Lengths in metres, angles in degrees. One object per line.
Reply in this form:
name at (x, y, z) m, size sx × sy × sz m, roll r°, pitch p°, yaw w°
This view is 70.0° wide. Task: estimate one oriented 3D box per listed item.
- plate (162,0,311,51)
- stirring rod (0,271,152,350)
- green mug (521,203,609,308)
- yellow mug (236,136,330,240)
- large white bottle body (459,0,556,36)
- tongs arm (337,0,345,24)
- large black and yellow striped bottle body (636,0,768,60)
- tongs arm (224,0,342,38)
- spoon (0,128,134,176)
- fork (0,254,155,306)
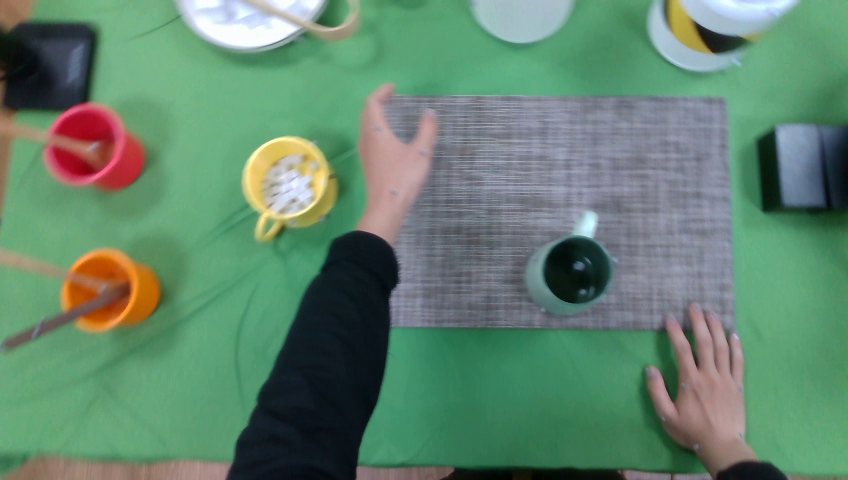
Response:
plate at (-0.243, -0.346, 0.803) m, size 0.207 × 0.039 × 0.207 m, roll 0°, pitch 83°, yaw 2°
stirring rod at (-0.399, 0.079, 0.706) m, size 0.014 × 0.006 × 0.176 m, roll 50°, pitch 45°, yaw 6°
green mug at (0.168, 0.016, 0.706) m, size 0.092 × 0.105 × 0.125 m, roll 16°, pitch 84°, yaw 5°
yellow mug at (-0.180, -0.059, 0.751) m, size 0.100 × 0.064 × 0.130 m, roll 25°, pitch 86°, yaw 5°
large white bottle body at (0.105, -0.341, 0.715) m, size 0.130 × 0.185 × 0.130 m, roll 0°, pitch 82°, yaw 3°
tongs arm at (-0.236, -0.412, 0.780) m, size 0.386 × 0.028 × 0.028 m, roll 42°, pitch 80°, yaw 8°
large black and yellow striped bottle body at (0.336, -0.306, 0.703) m, size 0.131 × 0.184 × 0.130 m, roll 0°, pitch 82°, yaw 3°
tongs arm at (-0.283, -0.343, 0.772) m, size 0.384 × 0.026 × 0.050 m, roll 28°, pitch 81°, yaw 7°
spoon at (-0.456, -0.116, 0.730) m, size 0.195 × 0.021 × 0.041 m, roll 13°, pitch 80°, yaw -40°
fork at (-0.420, 0.042, 0.705) m, size 0.209 × 0.018 × 0.028 m, roll 24°, pitch 78°, yaw -39°
